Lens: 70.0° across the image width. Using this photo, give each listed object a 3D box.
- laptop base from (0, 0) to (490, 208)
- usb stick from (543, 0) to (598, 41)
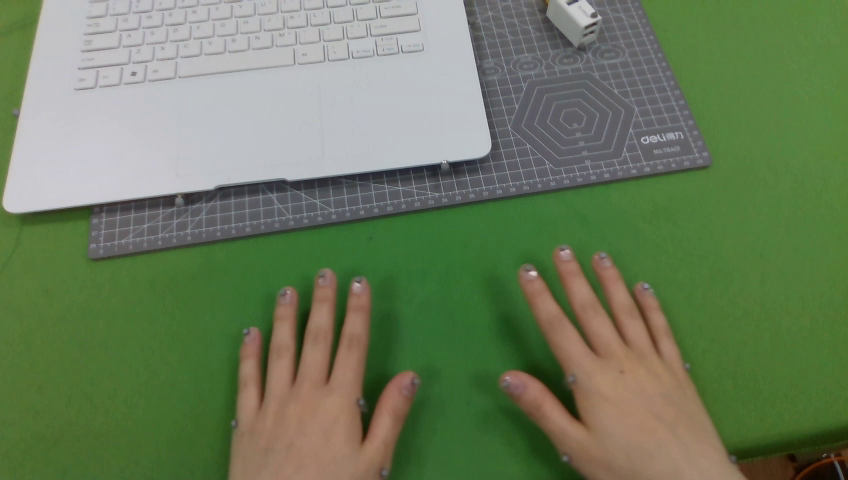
[{"bbox_3d":[-0.139,-0.145,0.485,0.354,0.023,0.233,-7,67,-2],"label":"laptop base"},{"bbox_3d":[0.116,-0.193,0.498,0.021,0.027,0.058,-28,64,-11],"label":"usb stick"}]
